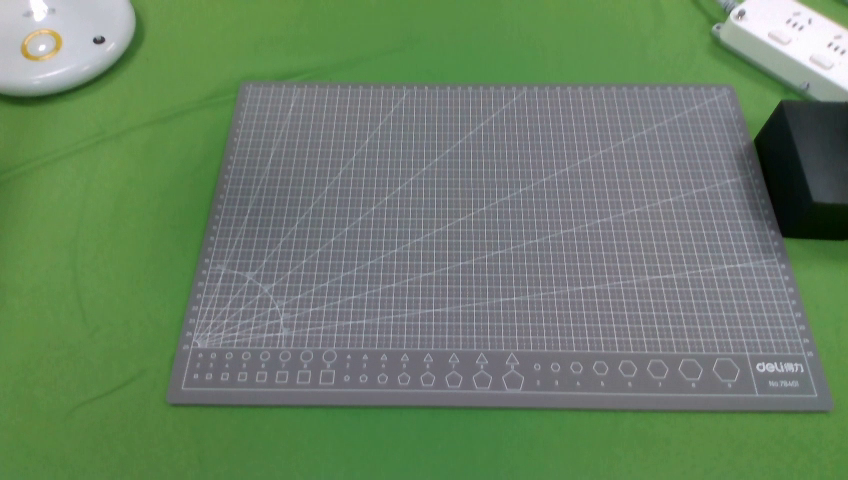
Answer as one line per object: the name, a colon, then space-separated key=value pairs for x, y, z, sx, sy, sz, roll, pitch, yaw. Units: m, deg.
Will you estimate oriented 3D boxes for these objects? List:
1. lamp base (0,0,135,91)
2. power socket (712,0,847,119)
lamp base: x=-0.367 y=-0.252 z=0.519 sx=0.161 sy=0.182 sz=0.177 roll=-21 pitch=59 yaw=-11
power socket: x=0.372 y=-0.156 z=0.541 sx=0.072 sy=0.033 sz=0.225 roll=-37 pitch=66 yaw=-19
